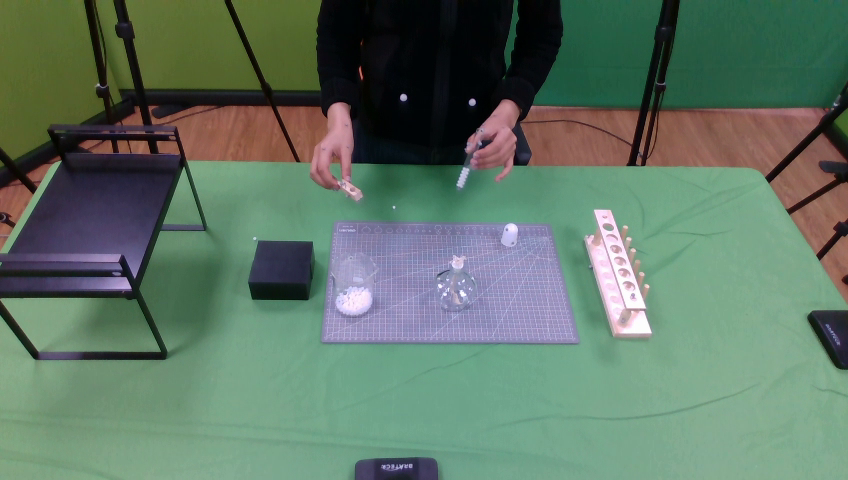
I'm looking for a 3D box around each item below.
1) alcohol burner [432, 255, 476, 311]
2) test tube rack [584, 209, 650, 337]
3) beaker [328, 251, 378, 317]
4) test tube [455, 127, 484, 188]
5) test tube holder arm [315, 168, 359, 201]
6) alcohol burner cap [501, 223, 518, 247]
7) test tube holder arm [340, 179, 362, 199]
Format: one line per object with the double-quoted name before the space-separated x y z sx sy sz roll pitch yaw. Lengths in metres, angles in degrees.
"alcohol burner" 0.055 0.070 1.068 0.078 0.119 0.077 3 45 -3
"test tube rack" 0.365 0.056 1.129 0.067 0.085 0.240 1 46 -4
"beaker" -0.123 0.079 1.055 0.084 0.101 0.073 0 47 -5
"test tube" 0.083 -0.151 1.132 0.017 0.151 0.017 8 51 -9
"test tube holder arm" -0.165 -0.106 1.130 0.013 0.015 0.177 -27 33 -23
"alcohol burner cap" 0.172 -0.013 1.206 0.034 0.048 0.033 1 45 -1
"test tube holder arm" -0.136 -0.093 1.097 0.010 0.015 0.087 -27 32 -22
